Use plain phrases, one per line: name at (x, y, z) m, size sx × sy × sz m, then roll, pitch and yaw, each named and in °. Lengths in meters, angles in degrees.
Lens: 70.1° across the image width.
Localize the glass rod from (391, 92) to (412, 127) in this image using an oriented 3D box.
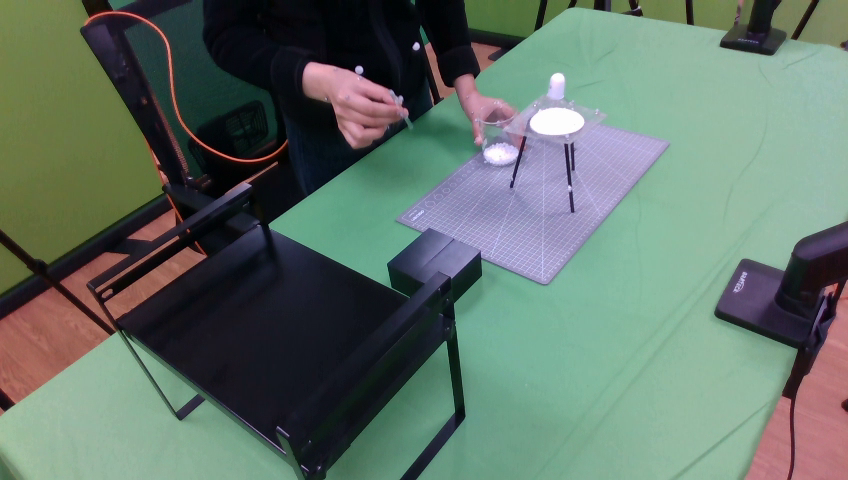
glass rod at (-0.031, -0.190, 0.896) m, size 0.008 × 0.008 × 0.200 m, roll -3°, pitch -2°, yaw 6°

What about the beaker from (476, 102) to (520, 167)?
beaker at (0.140, -0.195, 1.117) m, size 0.073 × 0.101 × 0.084 m, roll 2°, pitch 44°, yaw 17°

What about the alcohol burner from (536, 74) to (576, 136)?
alcohol burner at (0.256, -0.265, 1.173) m, size 0.078 × 0.119 × 0.077 m, roll -6°, pitch 40°, yaw 5°

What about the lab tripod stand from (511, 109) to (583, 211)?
lab tripod stand at (0.220, -0.138, 1.014) m, size 0.148 × 0.132 × 0.147 m, roll -3°, pitch 41°, yaw 3°

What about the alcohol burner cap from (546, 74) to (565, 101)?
alcohol burner cap at (0.251, -0.292, 1.151) m, size 0.034 × 0.048 × 0.033 m, roll 0°, pitch 42°, yaw 1°

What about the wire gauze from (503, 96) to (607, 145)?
wire gauze at (0.211, -0.192, 0.975) m, size 0.120 × 0.011 × 0.125 m, roll 24°, pitch 49°, yaw 32°
